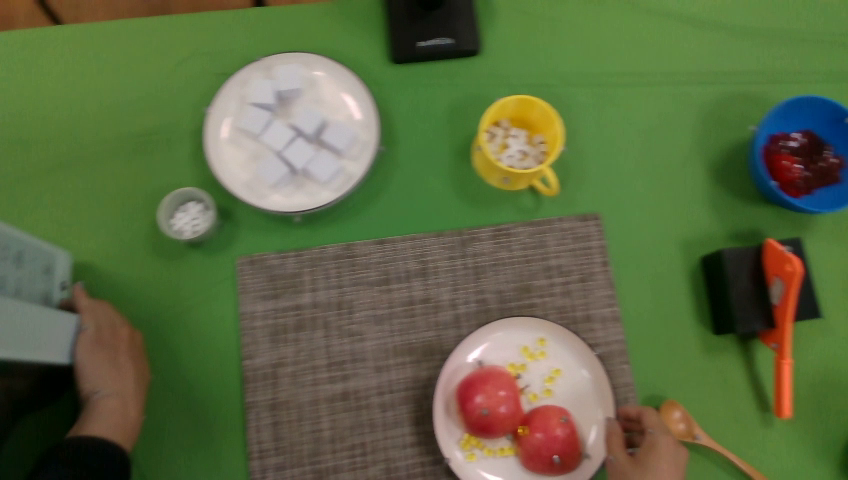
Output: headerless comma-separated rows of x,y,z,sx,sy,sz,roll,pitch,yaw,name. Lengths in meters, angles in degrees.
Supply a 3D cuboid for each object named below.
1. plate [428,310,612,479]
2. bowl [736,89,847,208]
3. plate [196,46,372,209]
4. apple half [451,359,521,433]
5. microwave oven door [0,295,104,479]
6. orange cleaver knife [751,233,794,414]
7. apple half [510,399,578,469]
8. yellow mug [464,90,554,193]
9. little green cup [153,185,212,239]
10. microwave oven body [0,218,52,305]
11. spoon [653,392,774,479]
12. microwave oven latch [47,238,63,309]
0.107,0.185,0.690,0.209,0.038,0.208,1,78,-4,plate
0.455,-0.104,0.763,0.151,0.077,0.150,1,78,-4,bowl
-0.167,-0.135,0.741,0.208,0.039,0.206,1,78,-4,plate
0.070,0.175,0.674,0.075,0.053,0.080,-11,79,-4,apple half
-0.369,0.230,0.523,0.039,0.244,0.354,3,77,-4,microwave oven door
0.407,0.098,0.713,0.012,0.077,0.212,-6,102,-2,orange cleaver knife
0.137,0.219,0.679,0.081,0.033,0.081,1,74,-2,apple half
0.112,-0.112,0.744,0.100,0.064,0.130,-36,83,-11,yellow mug
-0.279,-0.030,0.708,0.061,0.039,0.061,1,78,-6,little green cup
-0.541,0.200,0.521,0.326,0.261,0.439,-4,79,-6,microwave oven body
0.346,0.243,0.708,0.193,0.022,0.041,35,60,3,spoon
-0.416,0.039,0.665,0.030,0.029,0.079,-2,79,-5,microwave oven latch
